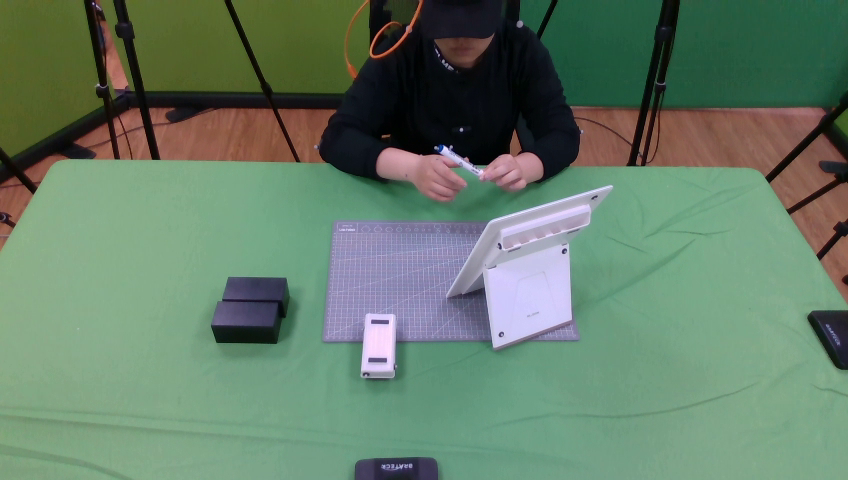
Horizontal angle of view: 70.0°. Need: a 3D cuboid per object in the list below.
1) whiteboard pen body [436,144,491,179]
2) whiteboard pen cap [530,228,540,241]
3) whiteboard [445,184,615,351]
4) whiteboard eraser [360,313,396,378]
[{"bbox_3d":[0.079,-0.148,1.162,0.141,0.017,0.017,26,36,-33],"label":"whiteboard pen body"},{"bbox_3d":[0.225,-0.012,1.221,0.018,0.018,0.033,13,29,8],"label":"whiteboard pen cap"},{"bbox_3d":[0.186,0.065,0.989,0.217,0.306,0.143,-15,68,-18],"label":"whiteboard"},{"bbox_3d":[-0.075,0.176,1.006,0.055,0.042,0.112,3,50,-4],"label":"whiteboard eraser"}]
